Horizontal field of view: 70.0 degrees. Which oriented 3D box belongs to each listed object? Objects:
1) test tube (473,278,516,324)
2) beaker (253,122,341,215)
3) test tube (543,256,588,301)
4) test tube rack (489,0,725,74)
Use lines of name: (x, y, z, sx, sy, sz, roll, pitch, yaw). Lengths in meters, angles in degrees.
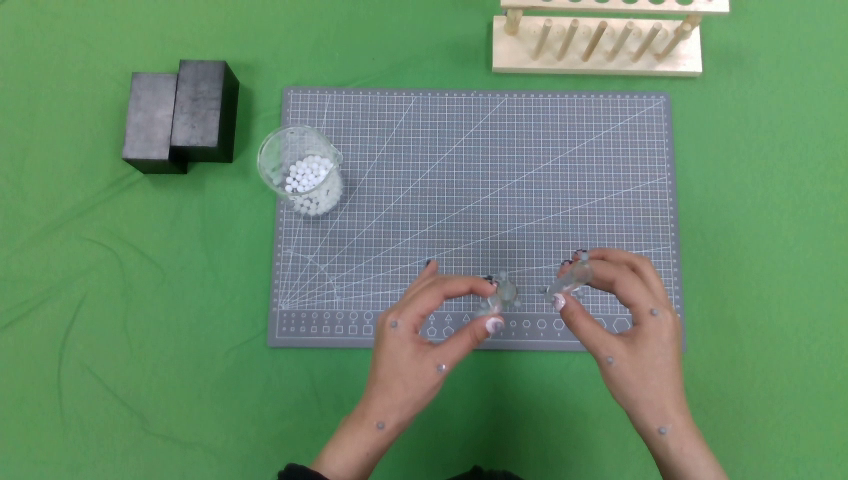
test tube: (0.053, 0.051, 0.477, 0.017, 0.151, 0.017, 0, 76, -1)
beaker: (-0.125, -0.071, 0.637, 0.084, 0.100, 0.073, -7, 79, -2)
test tube: (0.111, 0.034, 0.488, 0.017, 0.151, 0.017, -1, 78, 4)
test tube rack: (0.198, -0.239, 0.681, 0.242, 0.085, 0.066, 1, 79, 0)
